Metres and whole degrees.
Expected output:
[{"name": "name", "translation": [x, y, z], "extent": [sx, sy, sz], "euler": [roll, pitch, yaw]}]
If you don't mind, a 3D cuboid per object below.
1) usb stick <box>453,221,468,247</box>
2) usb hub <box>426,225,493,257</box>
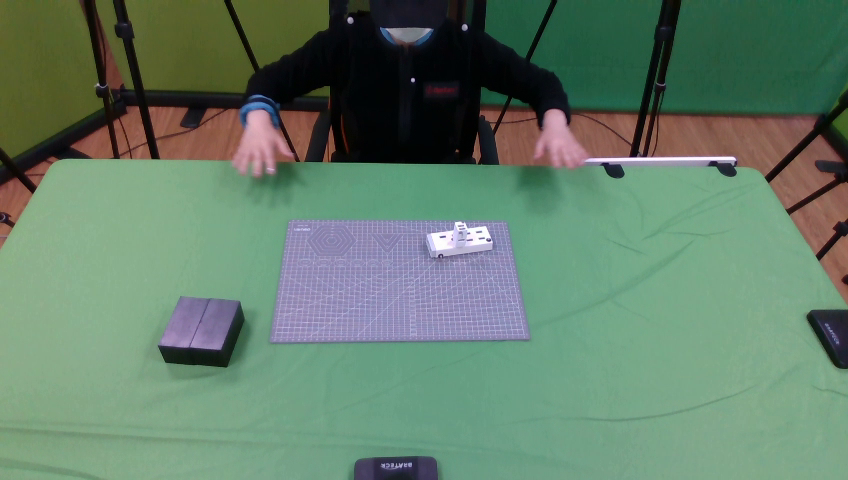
[{"name": "usb stick", "translation": [0.069, -0.006, 1.161], "extent": [0.021, 0.059, 0.027], "euler": [-7, 48, -13]}, {"name": "usb hub", "translation": [0.070, 0.003, 1.193], "extent": [0.125, 0.025, 0.049], "euler": [-8, 48, -11]}]
